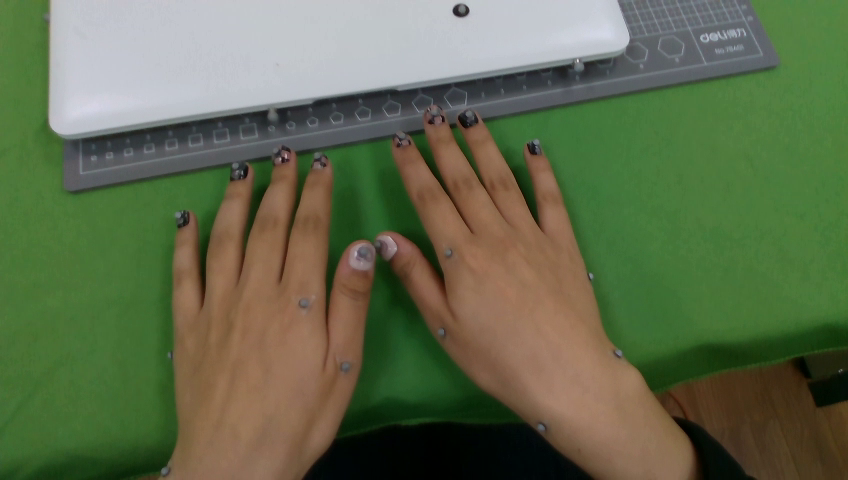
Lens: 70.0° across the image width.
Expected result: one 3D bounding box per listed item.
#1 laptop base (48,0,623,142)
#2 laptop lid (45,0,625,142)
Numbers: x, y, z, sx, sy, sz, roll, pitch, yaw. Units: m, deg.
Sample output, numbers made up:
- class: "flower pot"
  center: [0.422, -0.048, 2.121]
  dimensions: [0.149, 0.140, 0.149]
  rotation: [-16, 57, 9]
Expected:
- class: "laptop base"
  center: [-0.067, -0.191, 0.409]
  dimensions: [0.355, 0.023, 0.234]
  rotation: [-10, 73, -6]
- class: "laptop lid"
  center: [-0.066, -0.193, 0.397]
  dimensions: [0.357, 0.013, 0.240]
  rotation: [-9, 72, -5]
